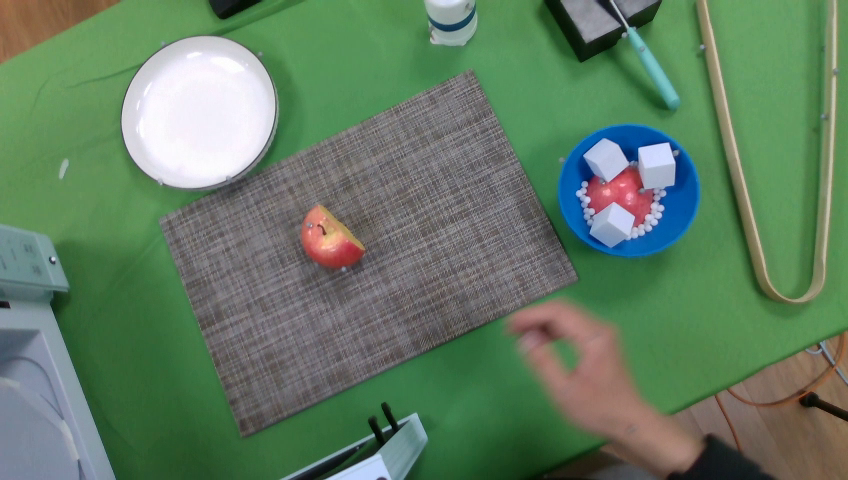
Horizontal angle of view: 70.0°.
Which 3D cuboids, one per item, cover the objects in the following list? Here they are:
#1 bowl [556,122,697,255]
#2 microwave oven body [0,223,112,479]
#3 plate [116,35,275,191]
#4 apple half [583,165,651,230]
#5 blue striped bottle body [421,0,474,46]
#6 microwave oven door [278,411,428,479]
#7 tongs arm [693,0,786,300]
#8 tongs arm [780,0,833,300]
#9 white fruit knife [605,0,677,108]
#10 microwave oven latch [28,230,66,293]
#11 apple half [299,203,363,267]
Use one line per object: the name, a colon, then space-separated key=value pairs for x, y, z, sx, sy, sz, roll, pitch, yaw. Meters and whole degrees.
bowl: x=0.224 y=-0.051 z=0.696 sx=0.151 sy=0.077 sz=0.151 roll=-1 pitch=81 yaw=6
microwave oven body: x=-0.547 y=0.234 z=0.638 sx=0.326 sy=0.261 sz=0.440 roll=-27 pitch=80 yaw=1
plate: x=-0.292 y=-0.161 z=0.787 sx=0.207 sy=0.039 sz=0.207 roll=-1 pitch=82 yaw=5
apple half: x=0.224 y=-0.051 z=0.693 sx=0.081 sy=0.033 sz=0.081 roll=-1 pitch=81 yaw=8
blue striped bottle body: x=0.028 y=-0.291 z=0.730 sx=0.063 sy=0.121 sz=0.063 roll=-1 pitch=81 yaw=6
microwave oven door: x=-0.173 y=0.276 z=0.590 sx=0.356 sy=0.245 sz=0.039 roll=-27 pitch=79 yaw=1
tongs arm: x=0.365 y=-0.119 z=0.716 sx=0.028 sy=0.028 sz=0.386 roll=-8 pitch=81 yaw=2
tongs arm: x=0.446 y=-0.121 z=0.705 sx=0.050 sy=0.026 sz=0.383 roll=4 pitch=83 yaw=7
white fruit knife: x=0.242 y=-0.244 z=0.718 sx=0.016 sy=0.027 sz=0.208 roll=-33 pitch=96 yaw=18
microwave oven latch: x=-0.482 y=0.027 z=0.760 sx=0.030 sy=0.029 sz=0.079 roll=-27 pitch=81 yaw=1
apple half: x=-0.117 y=0.002 z=0.723 sx=0.080 sy=0.075 sz=0.053 roll=44 pitch=94 yaw=7
